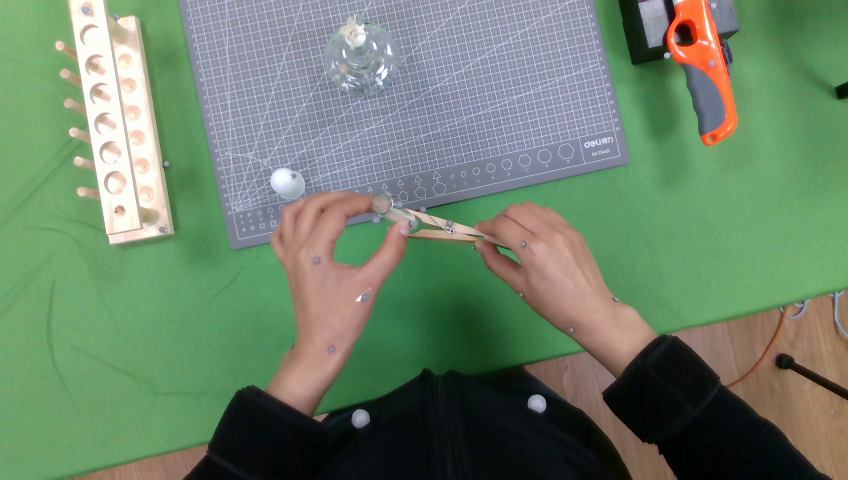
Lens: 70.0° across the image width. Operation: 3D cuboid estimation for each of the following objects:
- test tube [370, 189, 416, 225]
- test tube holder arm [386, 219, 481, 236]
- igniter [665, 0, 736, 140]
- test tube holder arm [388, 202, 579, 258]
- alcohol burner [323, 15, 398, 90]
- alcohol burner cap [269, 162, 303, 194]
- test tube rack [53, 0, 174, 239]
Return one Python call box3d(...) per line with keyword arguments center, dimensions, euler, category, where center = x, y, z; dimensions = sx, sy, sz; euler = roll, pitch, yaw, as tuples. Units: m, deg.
box3d(center=(-0.023, -0.025, 0.494), dimensions=(0.017, 0.150, 0.017), euler=(0, 87, 6), category="test tube")
box3d(center=(0.009, -0.012, 0.559), dimensions=(0.088, 0.015, 0.010), euler=(4, 90, 3), category="test tube holder arm")
box3d(center=(0.272, -0.239, 0.621), dimensions=(0.057, 0.025, 0.276), euler=(-14, 88, 10), category="igniter")
box3d(center=(0.054, -0.009, 0.557), dimensions=(0.178, 0.015, 0.013), euler=(13, 92, 3), category="test tube holder arm")
box3d(center=(-0.066, -0.195, 0.614), dimensions=(0.078, 0.119, 0.078), euler=(0, 89, 0), category="alcohol burner")
box3d(center=(-0.149, -0.068, 0.644), dimensions=(0.034, 0.048, 0.034), euler=(0, 88, -2), category="alcohol burner cap")
box3d(center=(-0.327, -0.127, 0.624), dimensions=(0.067, 0.085, 0.242), euler=(-10, 88, -1), category="test tube rack")
